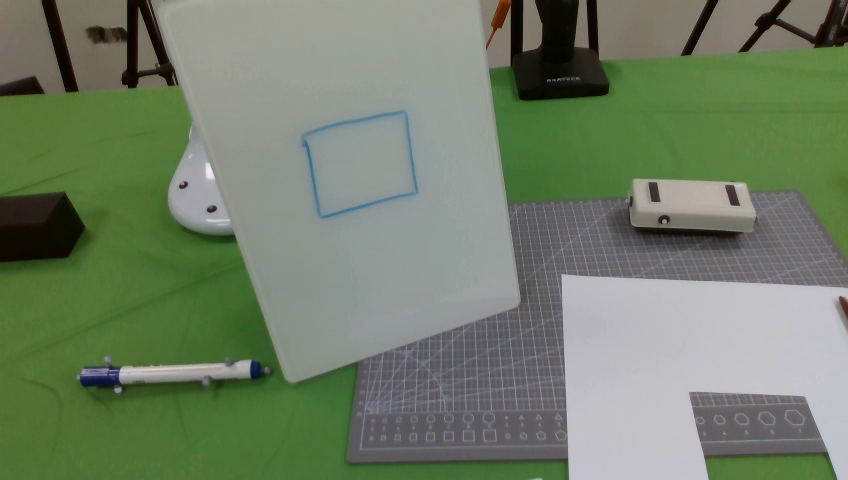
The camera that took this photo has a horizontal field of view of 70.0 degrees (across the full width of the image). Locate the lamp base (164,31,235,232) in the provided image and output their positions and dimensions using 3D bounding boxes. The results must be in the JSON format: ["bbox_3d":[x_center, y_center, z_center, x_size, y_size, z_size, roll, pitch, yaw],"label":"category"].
[{"bbox_3d":[-0.224,-0.125,0.652,0.177,0.182,0.160,28,52,34],"label":"lamp base"}]

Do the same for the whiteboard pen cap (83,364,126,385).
[{"bbox_3d":[-0.266,0.114,0.510,0.033,0.018,0.018,-1,42,-4],"label":"whiteboard pen cap"}]

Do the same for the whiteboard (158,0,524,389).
[{"bbox_3d":[-0.058,-0.067,0.523,0.217,0.308,0.142,-17,25,-11],"label":"whiteboard"}]

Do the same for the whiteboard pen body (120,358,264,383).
[{"bbox_3d":[-0.207,0.111,0.512,0.141,0.017,0.017,-2,43,-2],"label":"whiteboard pen body"}]

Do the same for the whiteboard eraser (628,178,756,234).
[{"bbox_3d":[0.263,-0.033,0.602,0.112,0.042,0.055,2,42,9],"label":"whiteboard eraser"}]

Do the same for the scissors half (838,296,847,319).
[{"bbox_3d":[0.372,0.105,0.463,0.040,0.013,0.173,-11,40,0],"label":"scissors half"}]

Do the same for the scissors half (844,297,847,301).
[{"bbox_3d":[0.352,0.108,0.466,0.040,0.013,0.174,-3,41,18],"label":"scissors half"}]
